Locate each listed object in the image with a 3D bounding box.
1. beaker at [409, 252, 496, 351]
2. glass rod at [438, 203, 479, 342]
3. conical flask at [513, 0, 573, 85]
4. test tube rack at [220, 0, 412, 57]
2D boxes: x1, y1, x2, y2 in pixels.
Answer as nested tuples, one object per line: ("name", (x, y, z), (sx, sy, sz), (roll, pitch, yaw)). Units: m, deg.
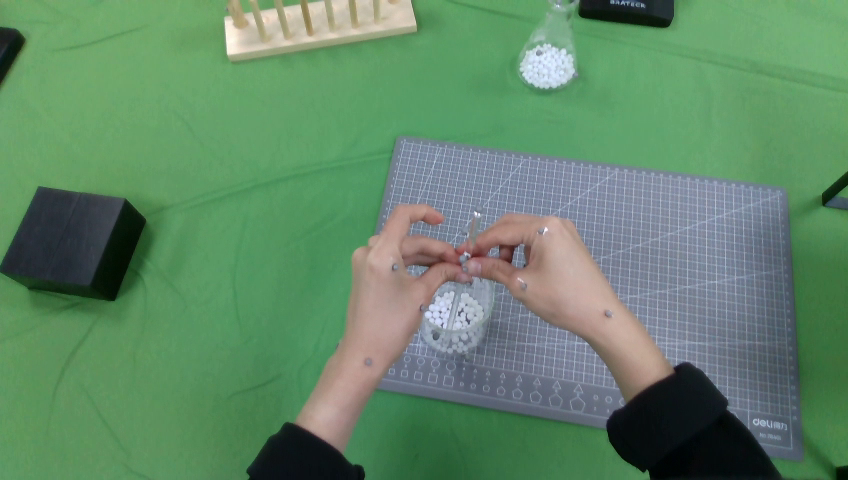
("beaker", (0.025, 0.062, 0.586), (0.083, 0.101, 0.074), (28, 70, 13))
("glass rod", (0.026, 0.036, 0.505), (0.008, 0.201, 0.008), (4, 53, -4))
("conical flask", (0.146, -0.246, 0.706), (0.075, 0.123, 0.075), (0, 66, 1))
("test tube rack", (-0.140, -0.301, 0.754), (0.242, 0.086, 0.066), (-11, 67, -4))
